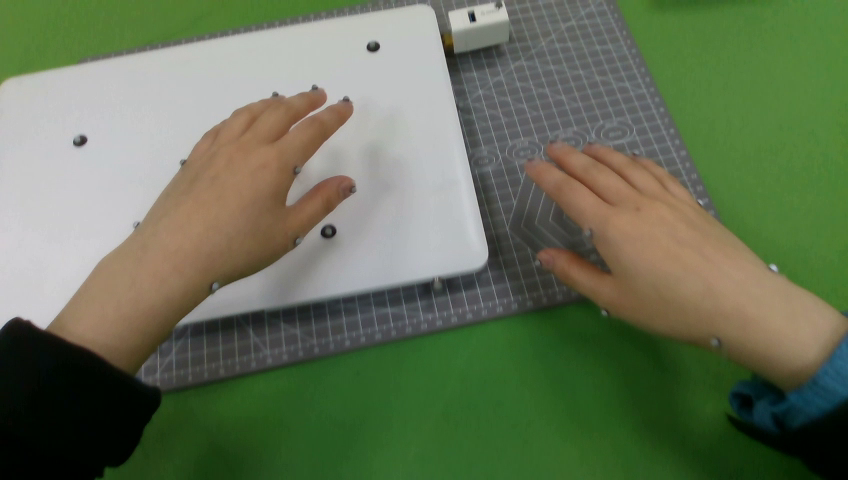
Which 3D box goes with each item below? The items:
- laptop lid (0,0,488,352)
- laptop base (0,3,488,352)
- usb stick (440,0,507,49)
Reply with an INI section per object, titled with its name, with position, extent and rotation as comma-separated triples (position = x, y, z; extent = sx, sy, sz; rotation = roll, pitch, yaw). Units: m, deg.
[laptop lid]
position = -0.148, -0.058, 0.434
extent = 0.357, 0.013, 0.239
rotation = -9, 66, 0
[laptop base]
position = -0.148, -0.055, 0.445
extent = 0.354, 0.023, 0.233
rotation = -10, 67, -1
[usb stick]
position = 0.034, -0.167, 0.471
extent = 0.059, 0.027, 0.021
rotation = -12, 65, 4
